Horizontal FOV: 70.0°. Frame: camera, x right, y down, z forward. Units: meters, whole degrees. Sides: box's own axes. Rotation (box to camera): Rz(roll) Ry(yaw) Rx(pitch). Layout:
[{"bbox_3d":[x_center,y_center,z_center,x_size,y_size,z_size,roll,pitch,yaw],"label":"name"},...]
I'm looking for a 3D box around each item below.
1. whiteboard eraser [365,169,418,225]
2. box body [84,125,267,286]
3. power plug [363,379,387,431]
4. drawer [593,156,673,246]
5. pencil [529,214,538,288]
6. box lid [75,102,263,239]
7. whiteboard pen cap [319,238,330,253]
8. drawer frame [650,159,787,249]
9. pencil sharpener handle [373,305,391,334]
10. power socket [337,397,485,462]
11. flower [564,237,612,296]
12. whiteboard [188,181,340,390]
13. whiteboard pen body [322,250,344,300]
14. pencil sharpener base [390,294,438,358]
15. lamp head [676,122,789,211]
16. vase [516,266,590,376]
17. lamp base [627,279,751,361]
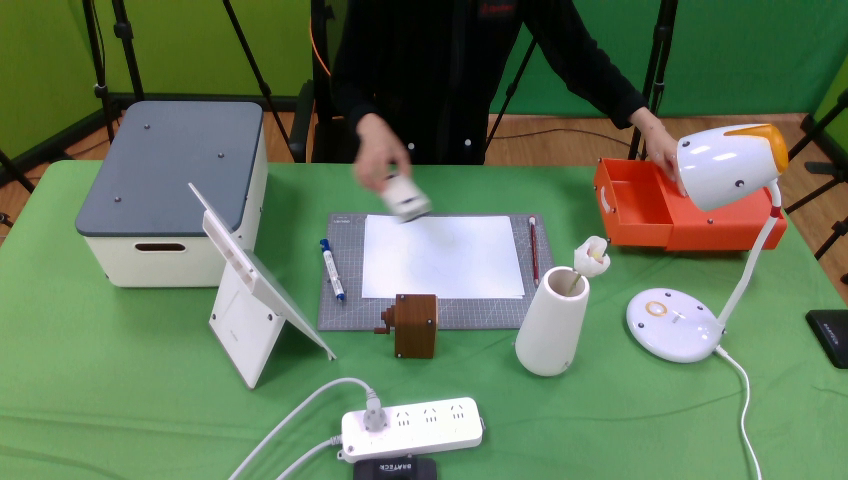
[{"bbox_3d":[-0.058,-0.075,1.068,0.055,0.042,0.112,-25,52,-12],"label":"whiteboard eraser"},{"bbox_3d":[-0.446,-0.088,1.150,0.254,0.161,0.361,-1,46,-5],"label":"box body"},{"bbox_3d":[-0.072,0.252,0.910,0.035,0.053,0.072,3,45,-1],"label":"power plug"},{"bbox_3d":[0.460,-0.078,1.207,0.212,0.073,0.193,3,46,-2],"label":"drawer"},{"bbox_3d":[0.218,0.019,1.202,0.012,0.012,0.193,5,48,1],"label":"pencil"},{"bbox_3d":[-0.443,-0.138,1.094,0.263,0.015,0.369,-1,47,-5],"label":"box lid"},{"bbox_3d":[-0.191,0.013,1.163,0.018,0.018,0.033,-13,50,-16],"label":"whiteboard pen cap"},{"bbox_3d":[0.566,-0.075,1.209,0.213,0.083,0.200,0,45,2],"label":"drawer frame"},{"bbox_3d":[-0.069,0.133,0.989,0.030,0.068,0.036,1,47,-2],"label":"pencil sharpener handle"},{"bbox_3d":[-0.018,0.285,0.915,0.227,0.033,0.071,-5,46,-8],"label":"power socket"},{"bbox_3d":[0.206,0.088,0.893,0.038,0.363,0.044,-17,67,-9],"label":"flower"},{"bbox_3d":[-0.292,0.096,0.929,0.144,0.307,0.216,-38,57,-10],"label":"whiteboard"},{"bbox_3d":[-0.173,0.056,1.127,0.017,0.017,0.140,-12,49,-16],"label":"whiteboard pen body"},{"bbox_3d":[-0.018,0.143,1.000,0.077,0.107,0.061,1,46,-2],"label":"pencil sharpener base"},{"bbox_3d":[0.423,-0.104,0.819,0.122,0.113,0.112,-13,33,40],"label":"lamp head"},{"bbox_3d":[0.208,0.132,0.965,0.098,0.201,0.097,3,46,-3],"label":"vase"},{"bbox_3d":[0.459,0.100,1.027,0.178,0.181,0.160,27,51,17],"label":"lamp base"}]
